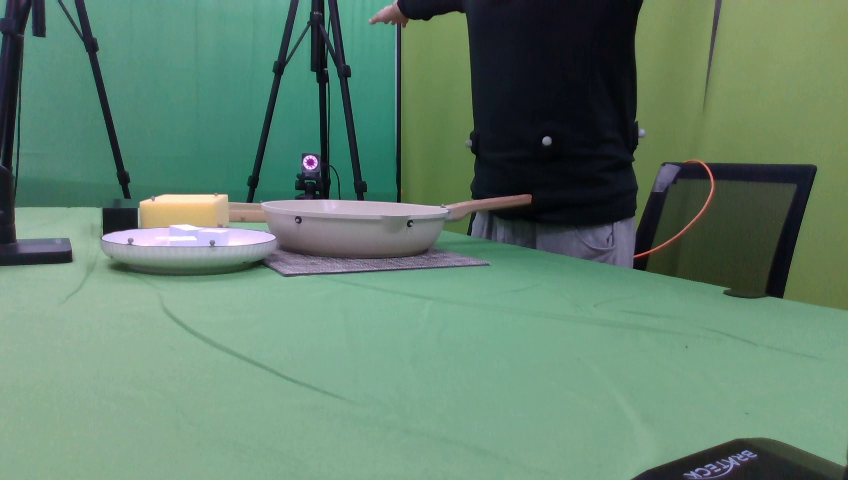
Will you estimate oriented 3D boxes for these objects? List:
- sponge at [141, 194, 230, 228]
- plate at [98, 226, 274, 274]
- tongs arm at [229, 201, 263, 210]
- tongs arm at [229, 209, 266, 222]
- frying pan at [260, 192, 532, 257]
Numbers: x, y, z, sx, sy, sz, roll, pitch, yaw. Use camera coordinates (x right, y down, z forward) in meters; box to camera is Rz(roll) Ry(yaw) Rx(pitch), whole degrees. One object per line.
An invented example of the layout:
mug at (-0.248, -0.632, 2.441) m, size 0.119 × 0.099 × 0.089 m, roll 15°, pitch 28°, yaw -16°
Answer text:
sponge at (-0.425, -0.047, 1.097) m, size 0.118 × 0.061 × 0.206 m, roll -2°, pitch 8°, yaw -12°
plate at (-0.301, 0.012, 0.778) m, size 0.208 × 0.039 × 0.207 m, roll 3°, pitch 7°, yaw 0°
tongs arm at (-0.306, -0.070, 1.430) m, size 0.386 × 0.026 × 0.050 m, roll 2°, pitch 8°, yaw -15°
tongs arm at (-0.280, -0.056, 1.355) m, size 0.389 × 0.028 × 0.028 m, roll -1°, pitch 6°, yaw -28°
frying pan at (-0.017, -0.043, 1.006) m, size 0.490 × 0.102 × 0.305 m, roll -11°, pitch 13°, yaw -26°
